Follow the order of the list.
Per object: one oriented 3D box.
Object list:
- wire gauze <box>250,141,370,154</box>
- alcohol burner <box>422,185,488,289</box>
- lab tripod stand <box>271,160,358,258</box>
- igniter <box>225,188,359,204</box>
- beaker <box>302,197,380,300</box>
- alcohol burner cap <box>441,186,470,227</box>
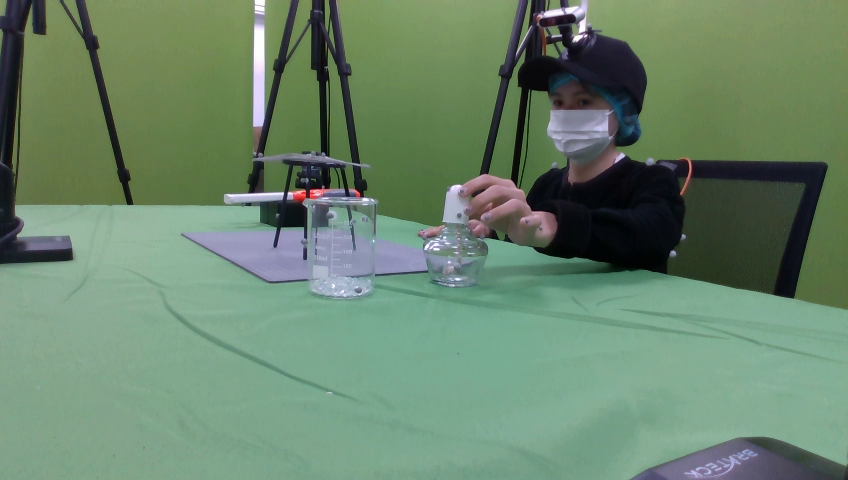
[{"bbox_3d":[-0.163,-0.131,0.867,0.124,0.011,0.122,-1,8,32],"label":"wire gauze"},{"bbox_3d":[0.036,-0.004,0.705,0.078,0.119,0.078,0,7,0],"label":"alcohol burner"},{"bbox_3d":[-0.159,-0.048,0.876,0.148,0.131,0.148,3,5,0],"label":"lab tripod stand"},{"bbox_3d":[-0.264,-0.089,1.239,0.278,0.025,0.057,-5,12,-32],"label":"igniter"},{"bbox_3d":[-0.089,0.007,0.625,0.084,0.100,0.074,4,7,16],"label":"beaker"},{"bbox_3d":[0.038,-0.039,0.700,0.034,0.048,0.034,4,3,0],"label":"alcohol burner cap"}]
